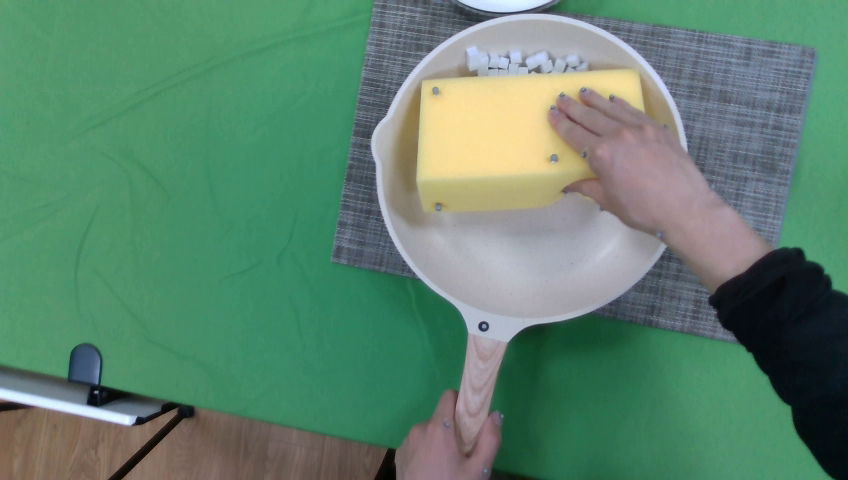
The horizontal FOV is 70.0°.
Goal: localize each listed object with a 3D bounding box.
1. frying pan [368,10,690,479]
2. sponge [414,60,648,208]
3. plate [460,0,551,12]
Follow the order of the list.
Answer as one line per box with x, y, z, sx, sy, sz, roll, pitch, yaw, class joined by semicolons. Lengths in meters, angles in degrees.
0.073;0.030;0.593;0.306;0.103;0.487;14;85;7;frying pan
0.098;-0.100;0.581;0.206;0.061;0.117;-3;63;7;sponge
0.088;-0.334;0.615;0.207;0.039;0.207;0;92;7;plate
